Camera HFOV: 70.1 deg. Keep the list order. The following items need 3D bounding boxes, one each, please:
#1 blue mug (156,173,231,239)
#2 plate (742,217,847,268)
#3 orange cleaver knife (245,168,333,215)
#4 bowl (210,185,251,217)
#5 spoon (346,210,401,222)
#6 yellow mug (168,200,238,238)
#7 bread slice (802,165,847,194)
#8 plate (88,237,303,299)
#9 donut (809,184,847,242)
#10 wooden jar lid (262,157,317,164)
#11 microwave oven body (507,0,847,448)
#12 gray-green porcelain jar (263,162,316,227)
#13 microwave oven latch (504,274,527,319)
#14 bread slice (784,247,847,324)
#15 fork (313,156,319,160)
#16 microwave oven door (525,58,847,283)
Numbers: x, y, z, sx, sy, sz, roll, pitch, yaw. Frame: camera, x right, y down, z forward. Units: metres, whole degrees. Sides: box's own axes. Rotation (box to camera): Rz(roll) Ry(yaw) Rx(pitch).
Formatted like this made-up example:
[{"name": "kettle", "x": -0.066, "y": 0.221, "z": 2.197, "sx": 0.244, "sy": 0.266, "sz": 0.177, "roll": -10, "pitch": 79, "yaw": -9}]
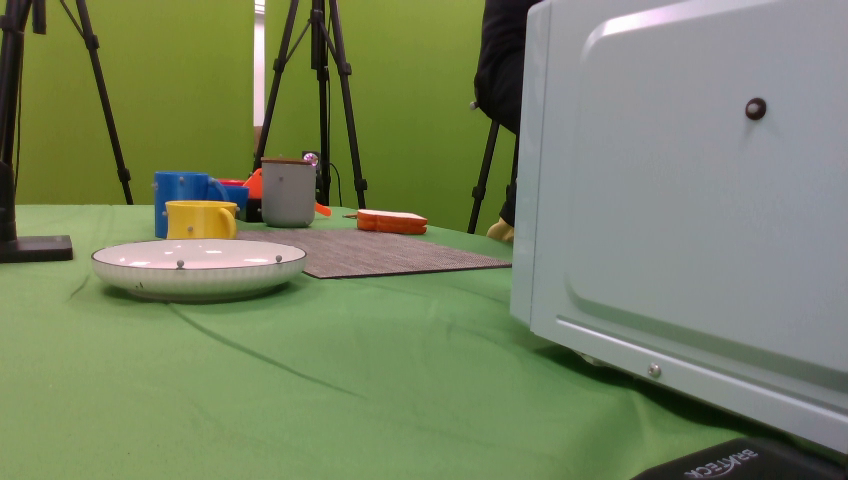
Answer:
[{"name": "blue mug", "x": -0.381, "y": -0.057, "z": 1.004, "sx": 0.117, "sy": 0.106, "sz": 0.082, "roll": 1, "pitch": 8, "yaw": -12}, {"name": "plate", "x": 0.360, "y": -0.001, "z": 0.463, "sx": 0.209, "sy": 0.038, "sz": 0.209, "roll": -1, "pitch": 2, "yaw": 0}, {"name": "orange cleaver knife", "x": -0.300, "y": -0.089, "z": 1.352, "sx": 0.212, "sy": 0.077, "sz": 0.012, "roll": 28, "pitch": -9, "yaw": -34}, {"name": "bowl", "x": -0.408, "y": -0.064, "z": 1.154, "sx": 0.151, "sy": 0.077, "sz": 0.151, "roll": 2, "pitch": 8, "yaw": 0}, {"name": "spoon", "x": -0.120, "y": -0.059, "z": 1.400, "sx": 0.042, "sy": 0.021, "sz": 0.192, "roll": -27, "pitch": 25, "yaw": -38}, {"name": "yellow mug", "x": -0.320, "y": -0.023, "z": 0.904, "sx": 0.130, "sy": 0.064, "sz": 0.100, "roll": 9, "pitch": 10, "yaw": 36}, {"name": "bread slice", "x": 0.362, "y": -0.053, "z": 0.454, "sx": 0.135, "sy": 0.018, "sz": 0.106, "roll": -11, "pitch": 3, "yaw": -22}, {"name": "plate", "x": -0.233, "y": 0.029, "z": 0.636, "sx": 0.208, "sy": 0.039, "sz": 0.207, "roll": 2, "pitch": 7, "yaw": 0}, {"name": "donut", "x": 0.352, "y": -0.025, "z": 0.464, "sx": 0.099, "sy": 0.048, "sz": 0.099, "roll": -13, "pitch": 3, "yaw": 1}, {"name": "wooden jar lid", "x": -0.269, "y": -0.154, "z": 1.208, "sx": 0.108, "sy": 0.020, "sz": 0.108, "roll": 3, "pitch": 4, "yaw": 0}, {"name": "microwave oven body", "x": 0.331, "y": -0.042, "z": 0.425, "sx": 0.444, "sy": 0.260, "sz": 0.324, "roll": -2, "pitch": 8, "yaw": -31}, {"name": "gray-green porcelain jar", "x": -0.271, "y": -0.092, "z": 1.217, "sx": 0.106, "sy": 0.126, "sz": 0.106, "roll": 2, "pitch": 7, "yaw": 0}, {"name": "microwave oven latch", "x": 0.100, "y": 0.041, "z": 0.470, "sx": 0.079, "sy": 0.029, "sz": 0.030, "roll": -1, "pitch": 7, "yaw": -27}, {"name": "bread slice", "x": 0.372, "y": 0.026, "z": 0.475, "sx": 0.132, "sy": 0.019, "sz": 0.104, "roll": -29, "pitch": 16, "yaw": -10}, {"name": "fork", "x": -0.331, "y": -0.144, "z": 1.506, "sx": 0.207, "sy": 0.018, "sz": 0.028, "roll": -42, "pitch": -18, "yaw": 22}, {"name": "microwave oven door", "x": 0.300, "y": -0.089, "z": 0.748, "sx": 0.354, "sy": 0.243, "sz": 0.039, "roll": 6, "pitch": 9, "yaw": 32}]
